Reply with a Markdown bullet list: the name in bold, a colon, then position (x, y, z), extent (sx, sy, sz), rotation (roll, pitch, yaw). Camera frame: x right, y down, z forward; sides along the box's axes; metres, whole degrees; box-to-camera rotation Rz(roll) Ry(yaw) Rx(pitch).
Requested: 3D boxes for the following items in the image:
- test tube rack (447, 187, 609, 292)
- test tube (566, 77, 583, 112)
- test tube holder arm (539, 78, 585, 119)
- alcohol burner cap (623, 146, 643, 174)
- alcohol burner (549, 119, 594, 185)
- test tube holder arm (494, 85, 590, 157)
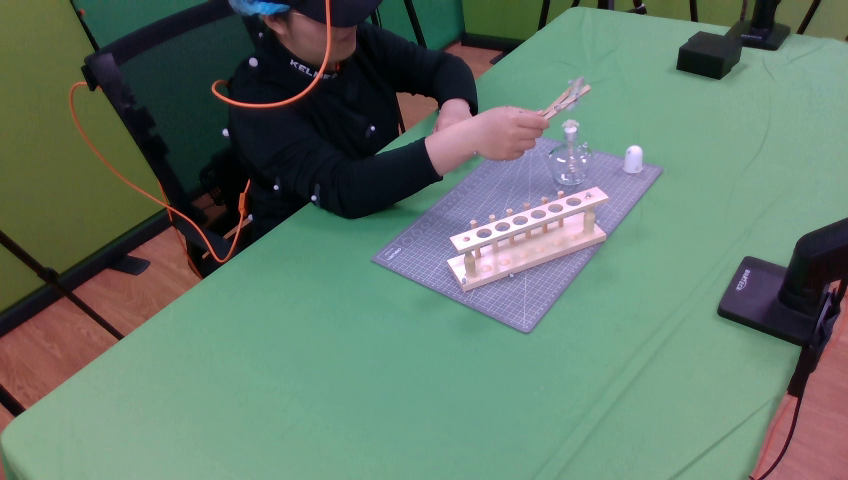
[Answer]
- **test tube rack**: position (0.155, -0.011, 0.913), extent (0.243, 0.085, 0.066), rotation (-19, 41, -11)
- **test tube**: position (0.239, -0.230, 0.963), extent (0.017, 0.017, 0.150), rotation (-3, -3, 9)
- **test tube holder arm**: position (0.216, -0.220, 0.950), extent (0.087, 0.015, 0.010), rotation (-44, 78, 12)
- **alcohol burner cap**: position (0.369, -0.142, 1.062), extent (0.034, 0.048, 0.033), rotation (-7, 41, 6)
- **alcohol burner**: position (0.254, -0.155, 1.043), extent (0.078, 0.120, 0.077), rotation (-7, 40, 6)
- **test tube holder arm**: position (0.185, -0.188, 0.959), extent (0.178, 0.015, 0.013), rotation (-37, 79, 13)
